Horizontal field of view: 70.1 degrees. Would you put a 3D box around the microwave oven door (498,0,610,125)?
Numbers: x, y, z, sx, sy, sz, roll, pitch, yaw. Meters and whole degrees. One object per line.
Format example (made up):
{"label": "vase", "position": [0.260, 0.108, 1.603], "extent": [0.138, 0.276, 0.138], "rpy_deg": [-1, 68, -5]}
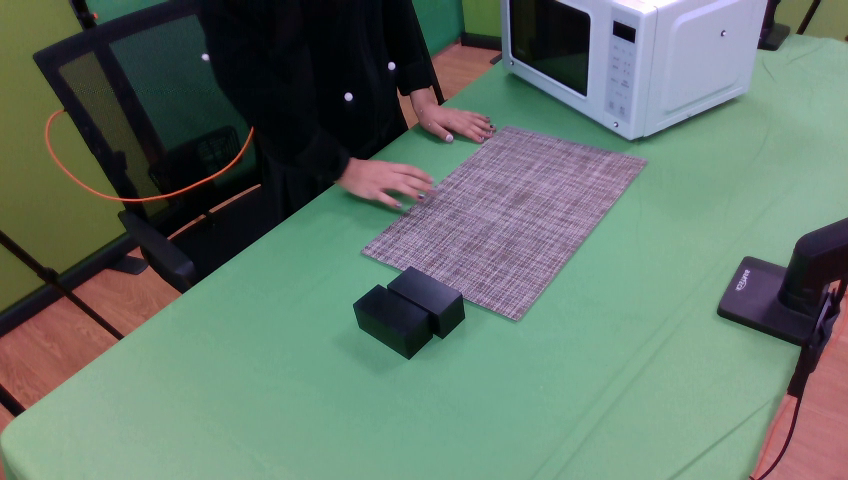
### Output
{"label": "microwave oven door", "position": [0.261, -0.410, 1.219], "extent": [0.039, 0.245, 0.352], "rpy_deg": [-24, 42, -17]}

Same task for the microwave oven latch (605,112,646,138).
{"label": "microwave oven latch", "position": [0.375, -0.217, 1.130], "extent": [0.030, 0.029, 0.078], "rpy_deg": [-25, 42, -16]}

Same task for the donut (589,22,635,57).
{"label": "donut", "position": [0.401, -0.429, 1.294], "extent": [0.099, 0.048, 0.098], "rpy_deg": [3, 50, -4]}

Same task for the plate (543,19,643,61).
{"label": "plate", "position": [0.359, -0.425, 1.293], "extent": [0.209, 0.038, 0.208], "rpy_deg": [-1, 36, 1]}

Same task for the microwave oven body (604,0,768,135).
{"label": "microwave oven body", "position": [0.411, -0.441, 1.235], "extent": [0.327, 0.261, 0.437], "rpy_deg": [-25, 42, -16]}
